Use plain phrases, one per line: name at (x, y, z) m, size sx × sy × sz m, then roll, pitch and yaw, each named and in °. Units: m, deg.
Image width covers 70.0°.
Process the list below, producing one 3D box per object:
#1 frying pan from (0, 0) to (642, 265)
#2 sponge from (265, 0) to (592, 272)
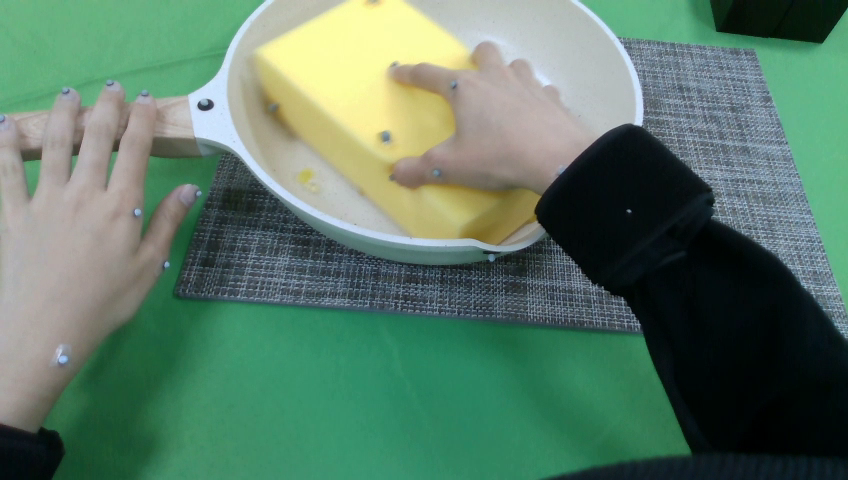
frying pan at (-0.092, -0.086, 0.415) m, size 0.489 × 0.103 × 0.303 m, roll -8°, pitch 56°, yaw -18°
sponge at (-0.001, -0.089, 0.435) m, size 0.118 × 0.061 × 0.205 m, roll -39°, pitch 67°, yaw -20°
